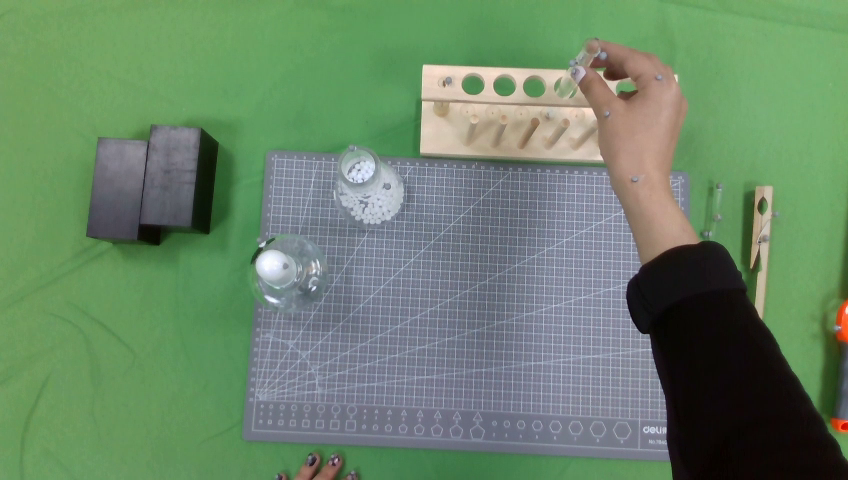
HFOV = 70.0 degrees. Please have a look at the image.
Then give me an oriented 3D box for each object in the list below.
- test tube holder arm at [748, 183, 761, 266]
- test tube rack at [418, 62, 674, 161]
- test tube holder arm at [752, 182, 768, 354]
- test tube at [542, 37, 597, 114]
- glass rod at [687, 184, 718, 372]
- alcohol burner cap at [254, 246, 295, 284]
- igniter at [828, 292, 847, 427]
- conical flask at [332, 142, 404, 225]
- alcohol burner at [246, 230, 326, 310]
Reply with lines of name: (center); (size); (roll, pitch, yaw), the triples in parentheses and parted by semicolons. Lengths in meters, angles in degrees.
test tube holder arm: (0.349, -0.016, 0.639); (0.010, 0.015, 0.087); (1, 83, 37)
test tube rack: (0.116, -0.127, 0.613); (0.242, 0.085, 0.066); (2, 83, 0)
test tube holder arm: (0.350, 0.029, 0.630); (0.013, 0.015, 0.178); (-1, 82, 36)
test tube: (0.132, -0.148, 0.565); (0.017, 0.150, 0.017); (0, 82, -1)
glass rod: (0.292, 0.039, 0.634); (0.008, 0.008, 0.199); (10, 85, 0)
alcohol burner cap: (-0.135, 0.020, 0.540); (0.034, 0.048, 0.033); (1, 79, -5)
igniter: (0.453, 0.056, 0.626); (0.057, 0.025, 0.276); (12, 84, -9)
conical flask: (-0.058, -0.059, 0.581); (0.075, 0.122, 0.075); (0, 83, 0)
alcohol burner: (-0.135, 0.027, 0.575); (0.078, 0.119, 0.077); (0, 82, 2)
